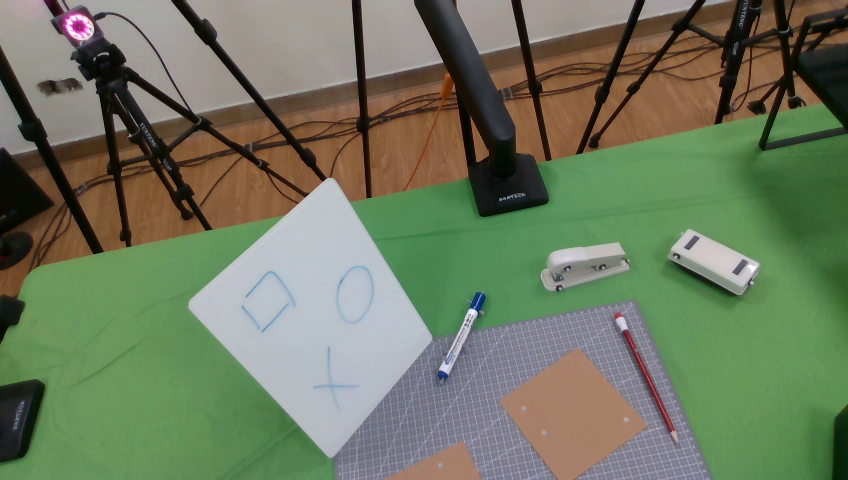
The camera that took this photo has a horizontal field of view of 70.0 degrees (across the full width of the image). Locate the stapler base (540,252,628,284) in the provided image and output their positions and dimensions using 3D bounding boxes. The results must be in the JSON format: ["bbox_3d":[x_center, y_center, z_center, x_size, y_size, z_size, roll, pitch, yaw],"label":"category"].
[{"bbox_3d":[0.240,0.030,0.911,0.130,0.024,0.041,-15,54,-4],"label":"stapler base"}]

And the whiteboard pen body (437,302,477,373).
[{"bbox_3d":[0.052,0.128,0.869,0.017,0.017,0.140,16,56,22],"label":"whiteboard pen body"}]

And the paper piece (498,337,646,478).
[{"bbox_3d":[0.189,0.212,0.784,0.136,0.009,0.136,-32,55,-9],"label":"paper piece"}]

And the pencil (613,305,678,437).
[{"bbox_3d":[0.290,0.167,0.799,0.012,0.012,0.192,-15,53,-1],"label":"pencil"}]

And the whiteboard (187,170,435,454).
[{"bbox_3d":[-0.158,0.085,0.796,0.142,0.308,0.217,17,55,47],"label":"whiteboard"}]

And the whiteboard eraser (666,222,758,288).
[{"bbox_3d":[0.413,0.022,0.873,0.111,0.042,0.055,33,66,30],"label":"whiteboard eraser"}]

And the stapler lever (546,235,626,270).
[{"bbox_3d":[0.238,0.015,0.892,0.118,0.040,0.026,-16,54,-3],"label":"stapler lever"}]

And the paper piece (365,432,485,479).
[{"bbox_3d":[0.013,0.319,0.732,0.135,0.004,0.134,-23,53,-9],"label":"paper piece"}]

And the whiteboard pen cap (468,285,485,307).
[{"bbox_3d":[0.078,0.084,0.897,0.018,0.018,0.033,14,56,20],"label":"whiteboard pen cap"}]
